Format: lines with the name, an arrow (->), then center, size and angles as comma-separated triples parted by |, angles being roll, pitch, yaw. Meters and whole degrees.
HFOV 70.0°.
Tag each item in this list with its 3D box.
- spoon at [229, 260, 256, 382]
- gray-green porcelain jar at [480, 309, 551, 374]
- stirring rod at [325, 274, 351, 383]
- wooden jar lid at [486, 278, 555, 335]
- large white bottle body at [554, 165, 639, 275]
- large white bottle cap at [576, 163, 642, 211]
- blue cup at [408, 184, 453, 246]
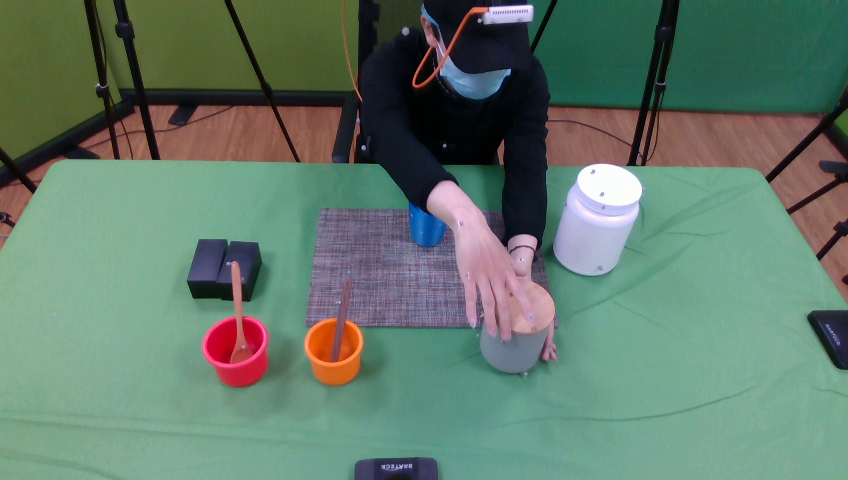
spoon -> -0.294, 0.129, 0.966 | 0.042, 0.021, 0.193 | -4, 91, -9
gray-green porcelain jar -> 0.148, 0.149, 0.991 | 0.106, 0.127, 0.105 | 2, 46, -2
stirring rod -> -0.137, 0.142, 0.972 | 0.014, 0.006, 0.176 | 10, 89, 0
wooden jar lid -> 0.149, 0.106, 0.947 | 0.108, 0.021, 0.107 | 4, 47, -4
large white bottle body -> 0.326, -0.037, 1.141 | 0.131, 0.185, 0.130 | 2, 46, -2
large white bottle cap -> 0.330, -0.096, 1.080 | 0.115, 0.018, 0.114 | 2, 46, -2
blue cup -> 0.009, -0.042, 1.177 | 0.093, 0.101, 0.092 | 2, 48, -3
